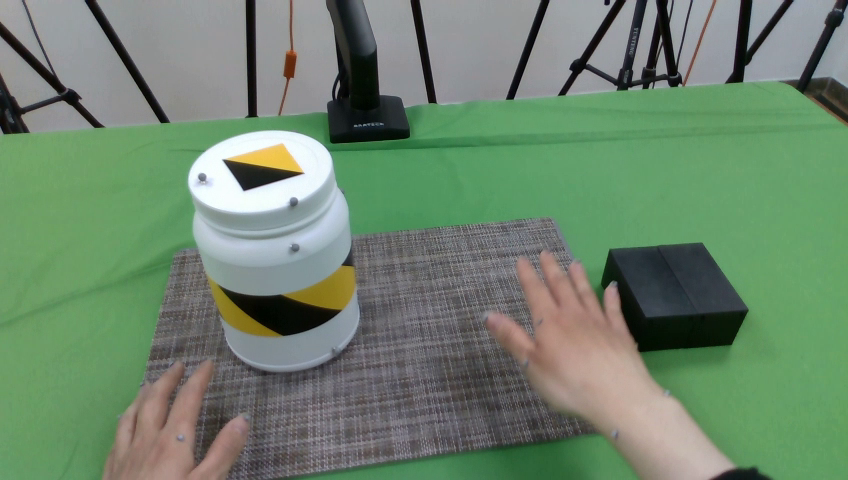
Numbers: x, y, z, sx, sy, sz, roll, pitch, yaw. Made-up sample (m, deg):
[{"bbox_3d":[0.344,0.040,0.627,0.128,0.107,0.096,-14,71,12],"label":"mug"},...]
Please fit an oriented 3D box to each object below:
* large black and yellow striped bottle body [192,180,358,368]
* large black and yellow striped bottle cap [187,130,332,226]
[{"bbox_3d":[-0.132,0.013,0.553,0.131,0.185,0.129,0,40,0],"label":"large black and yellow striped bottle body"},{"bbox_3d":[-0.134,-0.054,0.497,0.115,0.019,0.114,1,42,0],"label":"large black and yellow striped bottle cap"}]
